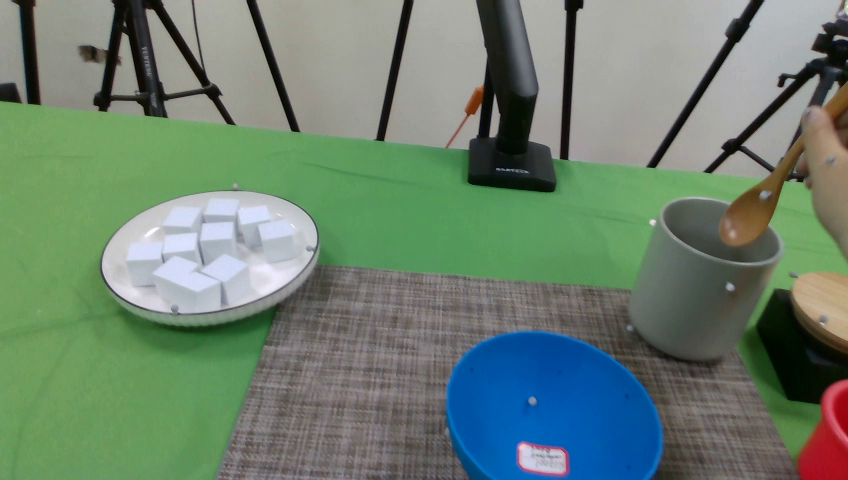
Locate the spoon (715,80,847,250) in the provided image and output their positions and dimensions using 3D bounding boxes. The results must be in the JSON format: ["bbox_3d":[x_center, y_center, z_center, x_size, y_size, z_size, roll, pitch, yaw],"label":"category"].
[{"bbox_3d":[0.278,-0.061,0.456,0.022,0.195,0.041,0,50,-11],"label":"spoon"}]

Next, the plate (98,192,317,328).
[{"bbox_3d":[-0.214,0.020,0.618,0.209,0.038,0.207,3,36,-2],"label":"plate"}]

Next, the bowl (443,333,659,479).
[{"bbox_3d":[0.084,0.148,0.445,0.151,0.077,0.150,4,36,-2],"label":"bowl"}]

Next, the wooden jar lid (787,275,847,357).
[{"bbox_3d":[0.391,0.073,0.560,0.108,0.021,0.107,3,36,-2],"label":"wooden jar lid"}]

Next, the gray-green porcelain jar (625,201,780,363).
[{"bbox_3d":[0.253,0.043,0.570,0.106,0.127,0.105,3,36,-2],"label":"gray-green porcelain jar"}]
